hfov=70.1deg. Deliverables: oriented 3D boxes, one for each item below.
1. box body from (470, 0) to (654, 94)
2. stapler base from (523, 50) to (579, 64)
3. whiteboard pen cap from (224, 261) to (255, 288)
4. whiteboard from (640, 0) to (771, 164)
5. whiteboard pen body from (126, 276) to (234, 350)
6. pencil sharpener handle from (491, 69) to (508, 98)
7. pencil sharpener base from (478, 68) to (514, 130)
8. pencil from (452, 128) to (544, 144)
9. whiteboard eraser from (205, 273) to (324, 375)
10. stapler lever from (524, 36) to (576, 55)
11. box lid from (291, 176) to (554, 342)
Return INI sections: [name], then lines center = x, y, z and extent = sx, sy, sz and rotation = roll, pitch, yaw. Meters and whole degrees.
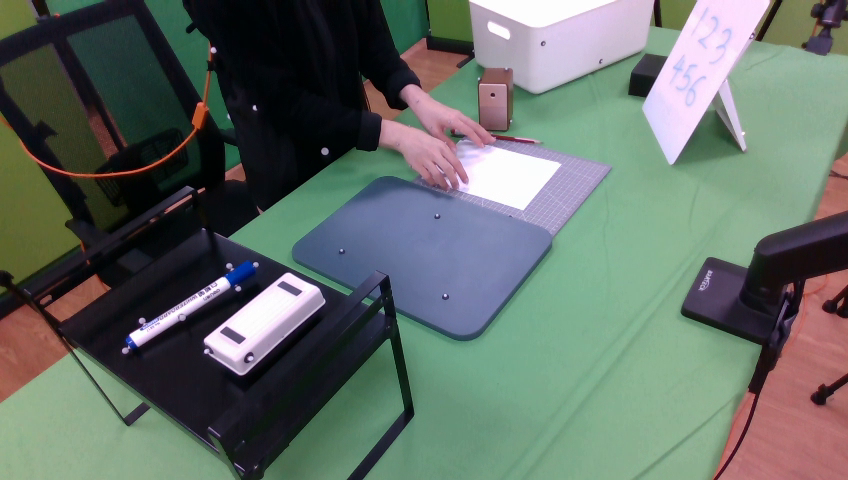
[box body]
center = 0.319, -0.498, 1.405
extent = 0.365, 0.161, 0.252
rotation = -26, 43, -21
[stapler base]
center = 0.301, -0.436, 1.434
extent = 0.130, 0.024, 0.041
rotation = 5, 40, 16
[whiteboard pen cap]
center = -0.207, 0.039, 0.677
extent = 0.033, 0.018, 0.018
rotation = -36, 47, -18
[whiteboard]
center = 0.543, -0.299, 1.076
extent = 0.144, 0.305, 0.216
rotation = 12, 40, -7
[whiteboard pen body]
center = -0.251, 0.070, 0.649
extent = 0.141, 0.017, 0.017
rotation = -36, 48, -26
[pencil sharpener handle]
center = 0.155, -0.329, 1.254
extent = 0.036, 0.068, 0.030
rotation = 17, 43, 4
[pencil sharpener base]
center = 0.148, -0.286, 1.225
extent = 0.061, 0.107, 0.076
rotation = 5, 41, 15
[pencil]
center = 0.145, -0.206, 1.204
extent = 0.193, 0.012, 0.012
rotation = 13, 44, 21
[whiteboard eraser]
center = -0.157, 0.084, 0.605
extent = 0.055, 0.042, 0.113
rotation = 24, 49, 30
[stapler lever]
center = 0.296, -0.456, 1.418
extent = 0.117, 0.040, 0.027
rotation = 4, 40, 17
[box lid]
center = -0.005, 0.011, 0.972
extent = 0.368, 0.015, 0.264
rotation = 21, 49, 30
